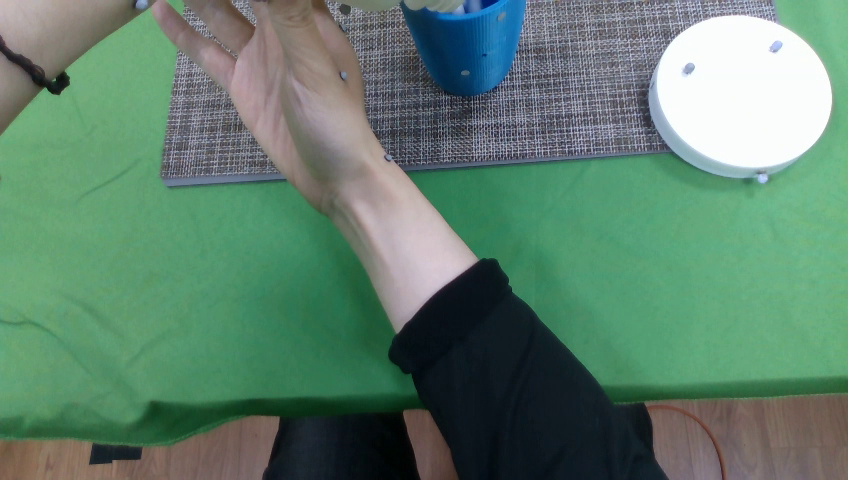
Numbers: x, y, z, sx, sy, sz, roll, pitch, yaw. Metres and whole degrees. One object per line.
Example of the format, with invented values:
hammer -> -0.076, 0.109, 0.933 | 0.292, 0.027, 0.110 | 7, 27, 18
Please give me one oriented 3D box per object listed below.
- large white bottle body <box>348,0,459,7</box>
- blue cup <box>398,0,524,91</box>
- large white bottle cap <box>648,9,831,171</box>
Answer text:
large white bottle body -> -0.058, -0.189, 0.282 | 0.185, 0.130, 0.130 | 9, 71, -19
blue cup -> 0.026, -0.151, 0.399 | 0.092, 0.101, 0.092 | -2, 71, 7
large white bottle cap -> 0.211, -0.102, 0.408 | 0.115, 0.018, 0.114 | -1, 75, 3
